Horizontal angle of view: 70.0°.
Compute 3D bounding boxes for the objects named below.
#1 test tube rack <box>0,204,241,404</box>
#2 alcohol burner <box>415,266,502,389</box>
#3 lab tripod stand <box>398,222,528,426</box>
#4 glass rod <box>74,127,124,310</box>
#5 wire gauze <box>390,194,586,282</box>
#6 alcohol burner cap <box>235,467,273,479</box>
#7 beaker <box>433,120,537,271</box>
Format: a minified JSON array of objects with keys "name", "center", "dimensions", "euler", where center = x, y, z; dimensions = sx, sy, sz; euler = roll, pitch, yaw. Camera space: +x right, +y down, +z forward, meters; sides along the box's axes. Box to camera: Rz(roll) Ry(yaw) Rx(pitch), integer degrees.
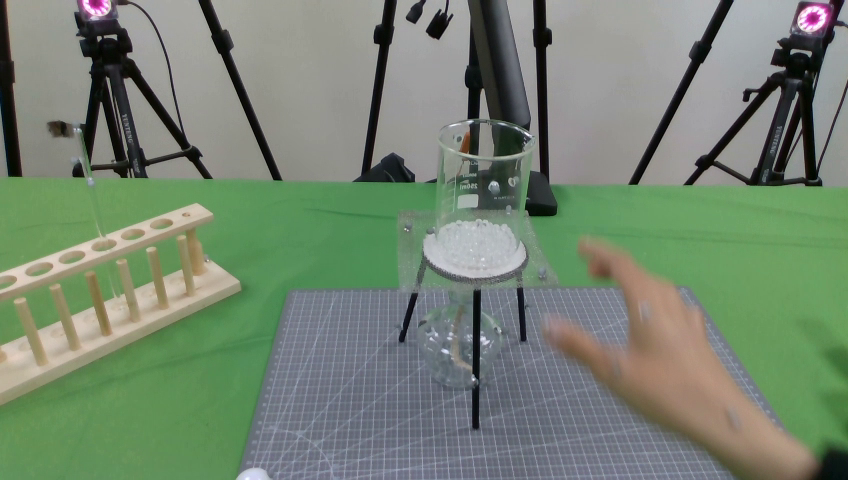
[{"name":"test tube rack","center":[-0.307,0.052,0.585],"dimensions":[0.066,0.086,0.242],"euler":[28,40,35]},{"name":"alcohol burner","center":[0.032,0.073,0.536],"dimensions":[0.078,0.120,0.077],"euler":[3,31,-1]},{"name":"lab tripod stand","center":[0.041,0.064,0.532],"dimensions":[0.148,0.132,0.147],"euler":[3,33,-1]},{"name":"glass rod","center":[-0.299,-0.011,0.560],"dimensions":[0.008,0.201,0.008],"euler":[5,34,-3]},{"name":"wire gauze","center":[0.048,-0.003,0.485],"dimensions":[0.125,0.011,0.120],"euler":[-7,30,-23]},{"name":"alcohol burner cap","center":[-0.119,0.179,0.424],"dimensions":[0.034,0.048,0.033],"euler":[3,33,-2]},{"name":"beaker","center":[0.046,-0.034,0.473],"dimensions":[0.084,0.101,0.073],"euler":[-12,36,-22]}]
